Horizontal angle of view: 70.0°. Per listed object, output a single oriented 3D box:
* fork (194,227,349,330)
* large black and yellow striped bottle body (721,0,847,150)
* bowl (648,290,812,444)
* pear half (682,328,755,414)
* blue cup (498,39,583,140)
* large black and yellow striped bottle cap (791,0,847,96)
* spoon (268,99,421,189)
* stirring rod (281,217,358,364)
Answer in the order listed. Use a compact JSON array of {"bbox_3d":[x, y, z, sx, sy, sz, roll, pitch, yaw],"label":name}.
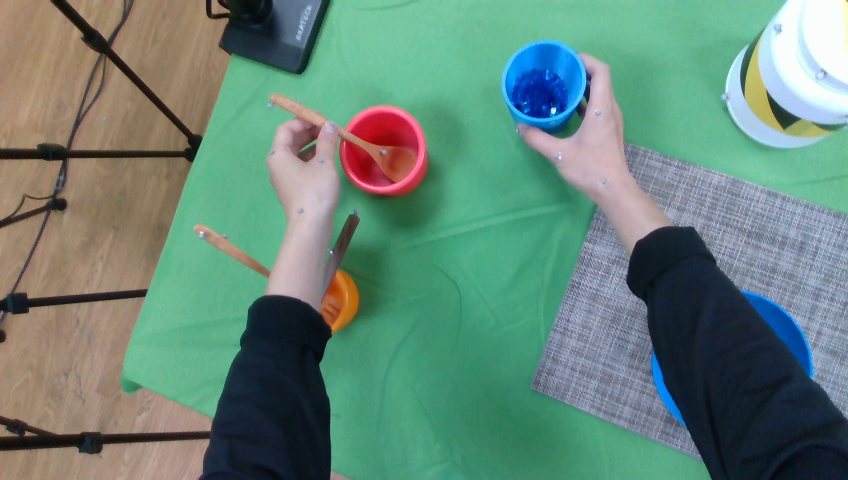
[{"bbox_3d":[-0.165,0.045,0.673,0.028,0.018,0.209,-44,125,11],"label":"fork"},{"bbox_3d":[0.384,-0.171,0.589,0.130,0.184,0.130,-1,85,9],"label":"large black and yellow striped bottle body"},{"bbox_3d":[0.305,0.127,0.629,0.151,0.077,0.151,-1,85,9],"label":"bowl"},{"bbox_3d":[0.305,0.134,0.622,0.070,0.031,0.087,-6,80,5],"label":"pear half"},{"bbox_3d":[0.127,-0.153,0.667,0.092,0.100,0.092,-1,84,10],"label":"blue cup"},{"bbox_3d":[0.373,-0.177,0.507,0.115,0.019,0.115,-1,86,10],"label":"large black and yellow striped bottle cap"},{"bbox_3d":[-0.083,-0.109,0.677,0.195,0.021,0.041,25,94,-34],"label":"spoon"},{"bbox_3d":[-0.114,0.056,0.663,0.014,0.006,0.176,26,90,7],"label":"stirring rod"}]
